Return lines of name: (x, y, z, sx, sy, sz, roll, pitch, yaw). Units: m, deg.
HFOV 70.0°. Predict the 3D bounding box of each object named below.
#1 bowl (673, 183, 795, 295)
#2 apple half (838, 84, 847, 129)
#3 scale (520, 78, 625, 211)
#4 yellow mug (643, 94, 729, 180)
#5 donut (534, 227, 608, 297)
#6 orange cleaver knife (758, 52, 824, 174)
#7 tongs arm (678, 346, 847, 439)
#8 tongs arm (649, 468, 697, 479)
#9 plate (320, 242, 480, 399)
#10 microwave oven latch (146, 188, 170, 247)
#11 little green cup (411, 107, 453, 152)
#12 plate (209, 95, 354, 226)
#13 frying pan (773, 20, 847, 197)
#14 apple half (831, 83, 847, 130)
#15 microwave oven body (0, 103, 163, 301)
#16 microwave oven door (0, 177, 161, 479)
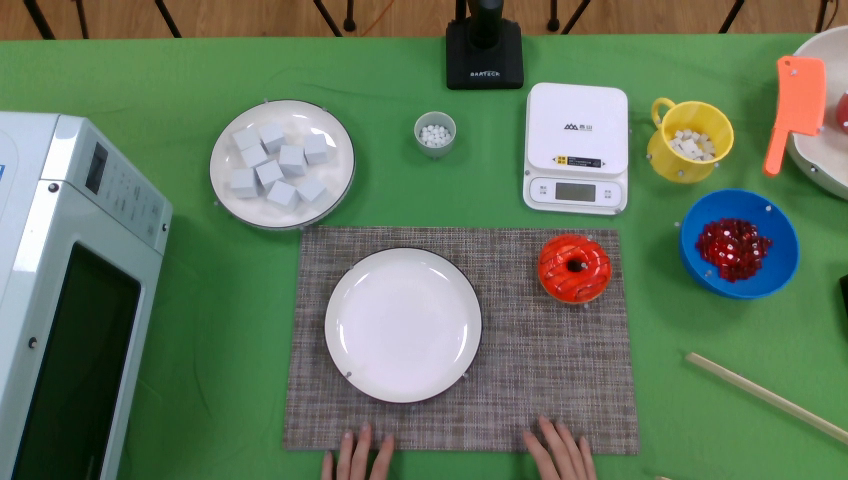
bowl: (0.400, 0.008, 0.812, 0.151, 0.077, 0.150, 0, 71, 1)
apple half: (0.653, -0.197, 0.879, 0.053, 0.075, 0.080, -7, 67, -5)
scale: (0.220, -0.143, 0.891, 0.148, 0.032, 0.199, 5, 71, 3)
yellow mug: (0.368, -0.158, 0.877, 0.100, 0.064, 0.130, -30, 72, -9)
donut: (0.197, 0.030, 0.820, 0.099, 0.048, 0.098, -1, 71, 2)
orange cleaver knife: (0.513, -0.180, 0.844, 0.077, 0.012, 0.210, 18, 73, 8)
tongs arm: (0.501, 0.236, 0.757, 0.386, 0.028, 0.028, 29, 66, 11)
tongs arm: (0.468, 0.310, 0.728, 0.384, 0.027, 0.050, 15, 67, 6)
plate: (-0.031, 0.104, 0.799, 0.209, 0.038, 0.207, 0, 71, 1)
microwave oven latch: (-0.372, -0.031, 0.834, 0.030, 0.029, 0.078, 5, 71, 2)
little green cup: (0.012, -0.161, 0.896, 0.061, 0.039, 0.061, 0, 70, 1)
plate: (-0.203, -0.113, 0.881, 0.208, 0.039, 0.206, 0, 71, 0)
frying pan: (0.691, -0.099, 0.832, 0.307, 0.103, 0.483, -25, 64, -7)
apple half: (0.615, -0.192, 0.876, 0.033, 0.082, 0.080, -7, 70, -6)
microwave oven body: (-0.533, 0.094, 0.690, 0.326, 0.261, 0.439, 3, 71, 1)
microwave oven door: (-0.390, 0.140, 0.667, 0.039, 0.245, 0.353, 3, 71, 2)
